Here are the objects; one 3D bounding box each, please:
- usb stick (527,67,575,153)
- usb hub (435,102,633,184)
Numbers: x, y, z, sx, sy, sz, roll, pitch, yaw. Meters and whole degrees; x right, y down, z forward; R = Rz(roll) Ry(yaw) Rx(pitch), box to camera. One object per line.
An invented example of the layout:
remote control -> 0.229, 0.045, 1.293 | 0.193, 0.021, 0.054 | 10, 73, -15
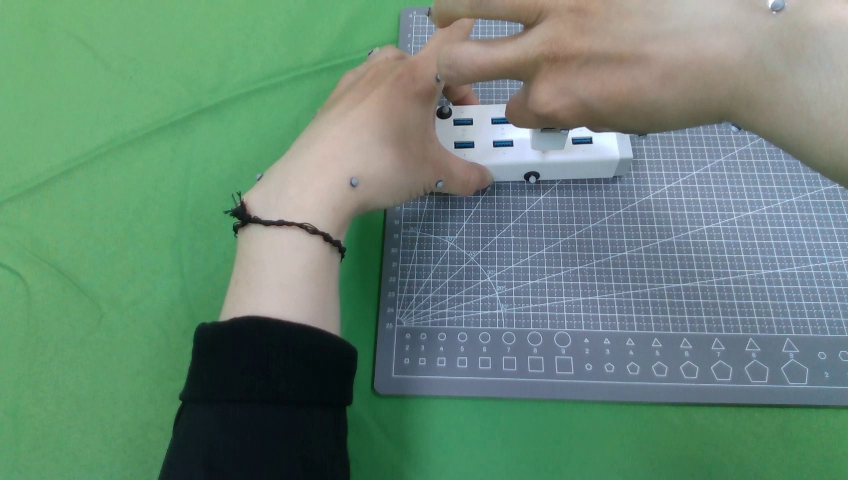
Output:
usb stick -> 0.073, -0.071, 0.360 | 0.021, 0.059, 0.027 | 3, 57, 3
usb hub -> 0.069, -0.064, 0.400 | 0.125, 0.025, 0.049 | -1, 63, 1
